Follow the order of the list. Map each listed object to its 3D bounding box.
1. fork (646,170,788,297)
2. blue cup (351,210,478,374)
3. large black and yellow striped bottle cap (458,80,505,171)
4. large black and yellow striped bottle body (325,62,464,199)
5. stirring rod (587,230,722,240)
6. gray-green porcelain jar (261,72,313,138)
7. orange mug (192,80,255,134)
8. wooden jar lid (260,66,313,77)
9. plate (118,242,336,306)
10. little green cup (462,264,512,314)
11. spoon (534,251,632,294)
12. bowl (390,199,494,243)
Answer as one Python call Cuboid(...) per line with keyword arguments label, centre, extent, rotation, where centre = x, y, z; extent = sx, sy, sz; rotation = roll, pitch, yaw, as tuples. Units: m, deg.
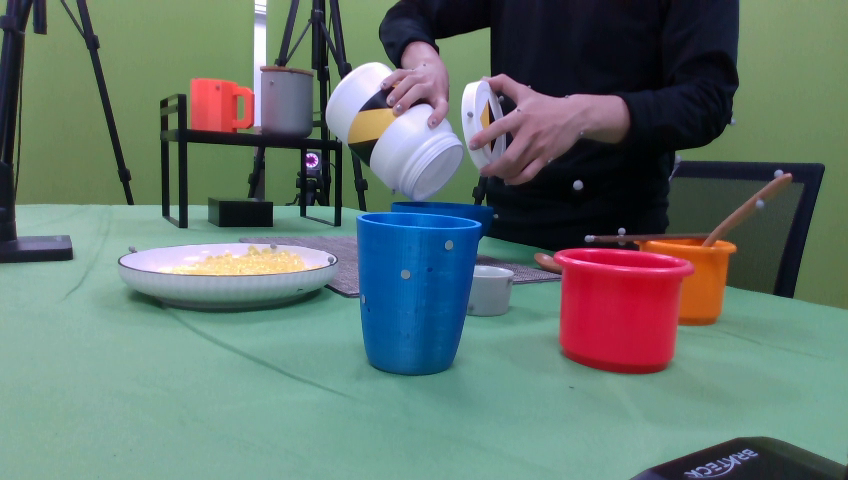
Cuboid(label="fork", centre=(0.256, 0.004, 0.543), extent=(0.028, 0.018, 0.207), rotation=(3, -36, -10))
Cuboid(label="blue cup", centre=(-0.009, 0.034, 0.414), extent=(0.093, 0.100, 0.092), rotation=(4, 8, 0))
Cuboid(label="large black and yellow striped bottle cap", centre=(0.076, -0.146, 0.775), extent=(0.018, 0.115, 0.115), rotation=(-8, 2, 28))
Cuboid(label="large black and yellow striped bottle body", centre=(-0.042, -0.158, 0.892), extent=(0.183, 0.130, 0.131), rotation=(44, 23, 17))
Cuboid(label="stirring rod", centre=(0.227, -0.006, 0.585), extent=(0.177, 0.006, 0.014), rotation=(-2, 7, -28))
Cuboid(label="gray-green porcelain jar", centre=(-0.284, -0.277, 1.253), extent=(0.106, 0.126, 0.106), rotation=(2, 8, 0))
Cuboid(label="orange mug", centre=(-0.389, -0.257, 1.172), extent=(0.126, 0.100, 0.083), rotation=(-1, 6, 9))
Cuboid(label="wooden jar lid", centre=(-0.283, -0.339, 1.244), extent=(0.108, 0.020, 0.108), rotation=(5, 9, 0))
Cuboid(label="plate", centre=(-0.194, 0.033, 0.615), extent=(0.209, 0.038, 0.209), rotation=(2, 7, 0))
Cuboid(label="little green cup", centre=(0.053, 0.047, 0.580), extent=(0.061, 0.038, 0.061), rotation=(3, 8, 0))
Cuboid(label="spoon", centre=(0.193, 0.038, 0.753), extent=(0.042, 0.021, 0.193), rotation=(14, 2, -21))
Cuboid(label="bowl", centre=(0.024, -0.015, 0.872), extent=(0.151, 0.077, 0.151), rotation=(3, 7, 0))
